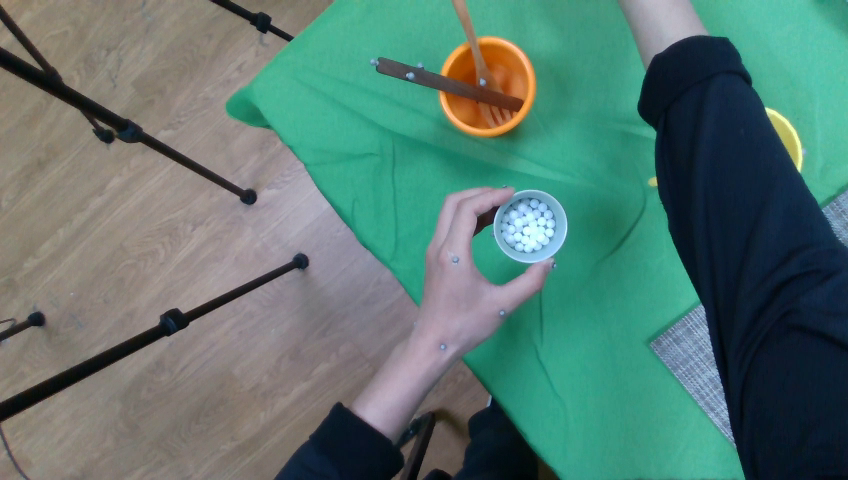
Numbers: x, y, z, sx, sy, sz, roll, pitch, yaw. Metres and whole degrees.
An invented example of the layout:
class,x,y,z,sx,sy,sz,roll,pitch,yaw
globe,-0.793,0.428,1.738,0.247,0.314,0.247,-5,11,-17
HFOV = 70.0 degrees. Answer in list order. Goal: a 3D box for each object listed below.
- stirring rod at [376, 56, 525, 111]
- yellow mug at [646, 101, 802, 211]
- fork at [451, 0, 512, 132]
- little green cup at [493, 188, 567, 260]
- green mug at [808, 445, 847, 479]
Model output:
class,x,y,z,sx,sy,sz,roll,pitch,yaw
stirring rod,0.031,-0.147,0.575,0.177,0.005,0.014,5,97,-35
yellow mug,0.283,-0.075,0.588,0.131,0.064,0.100,-15,93,9
fork,0.044,-0.186,0.565,0.028,0.018,0.209,-25,134,6
little green cup,0.089,-0.015,0.518,0.061,0.038,0.061,0,98,2
green mug,0.445,0.245,0.568,0.125,0.105,0.092,-24,90,8
